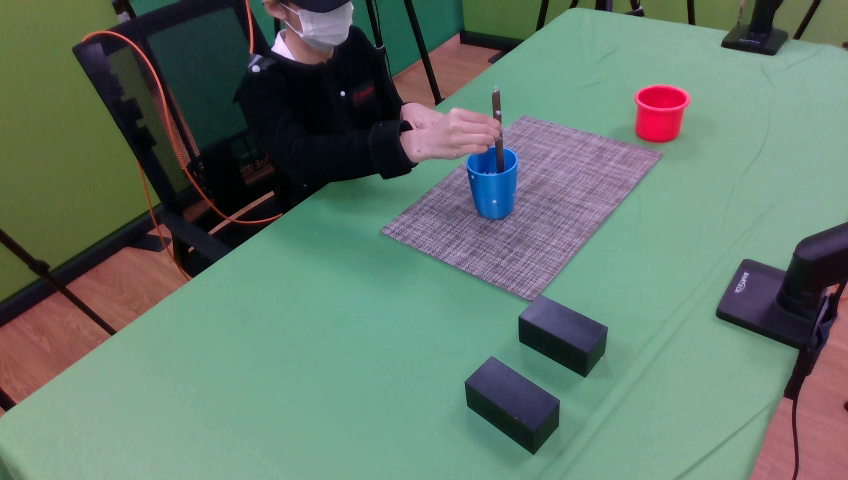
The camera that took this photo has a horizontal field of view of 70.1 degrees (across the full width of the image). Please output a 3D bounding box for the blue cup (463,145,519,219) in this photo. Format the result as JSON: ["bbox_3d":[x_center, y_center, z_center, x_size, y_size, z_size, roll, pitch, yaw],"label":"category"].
[{"bbox_3d":[0.115,-0.090,0.997,0.092,0.101,0.092,-5,41,5],"label":"blue cup"}]

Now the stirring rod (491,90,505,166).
[{"bbox_3d":[0.116,-0.151,0.928,0.014,0.177,0.005,-37,48,-25],"label":"stirring rod"}]
